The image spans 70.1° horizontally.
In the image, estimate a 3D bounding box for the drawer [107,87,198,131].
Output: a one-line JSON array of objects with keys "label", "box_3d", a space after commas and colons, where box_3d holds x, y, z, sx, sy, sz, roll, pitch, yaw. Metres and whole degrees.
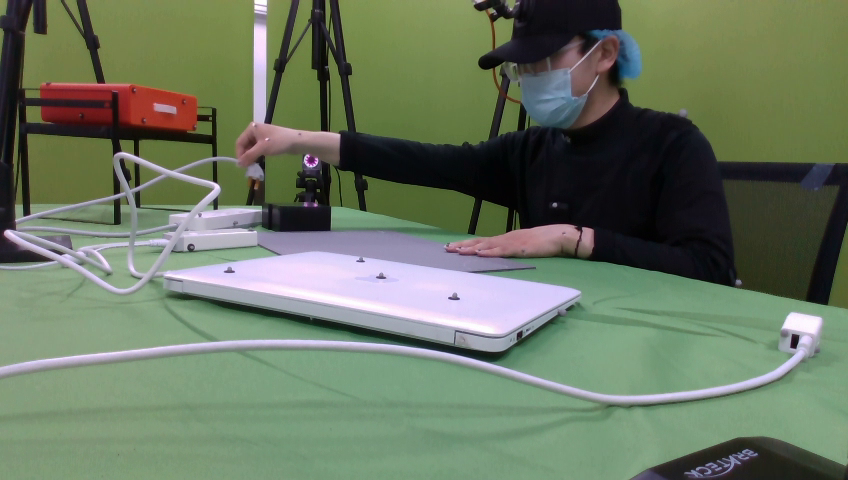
[{"label": "drawer", "box_3d": [-0.609, -0.265, 1.235, 0.211, 0.073, 0.195, 4, 8, 16]}]

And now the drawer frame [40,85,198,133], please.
[{"label": "drawer frame", "box_3d": [-0.612, -0.266, 1.235, 0.213, 0.082, 0.202, 4, 8, 15]}]

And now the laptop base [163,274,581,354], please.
[{"label": "laptop base", "box_3d": [-0.046, 0.053, 0.598, 0.353, 0.023, 0.236, 6, 6, 28]}]

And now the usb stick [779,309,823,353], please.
[{"label": "usb stick", "box_3d": [0.311, 0.072, 0.497, 0.027, 0.021, 0.059, 7, 15, 34]}]

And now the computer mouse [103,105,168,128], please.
[{"label": "computer mouse", "box_3d": [-0.582, -0.249, 1.223, 0.118, 0.041, 0.062, 2, 3, -39]}]

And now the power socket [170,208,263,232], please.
[{"label": "power socket", "box_3d": [-0.381, -0.038, 1.129, 0.072, 0.032, 0.227, 4, 8, 15]}]

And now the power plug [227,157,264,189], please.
[{"label": "power plug", "box_3d": [-0.352, -0.130, 1.190, 0.072, 0.052, 0.035, 10, -8, 4]}]

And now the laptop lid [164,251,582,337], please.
[{"label": "laptop lid", "box_3d": [-0.045, 0.040, 0.598, 0.355, 0.013, 0.243, 7, 7, 30]}]

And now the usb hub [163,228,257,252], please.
[{"label": "usb hub", "box_3d": [-0.314, -0.001, 0.895, 0.049, 0.025, 0.126, 10, 11, 41]}]
